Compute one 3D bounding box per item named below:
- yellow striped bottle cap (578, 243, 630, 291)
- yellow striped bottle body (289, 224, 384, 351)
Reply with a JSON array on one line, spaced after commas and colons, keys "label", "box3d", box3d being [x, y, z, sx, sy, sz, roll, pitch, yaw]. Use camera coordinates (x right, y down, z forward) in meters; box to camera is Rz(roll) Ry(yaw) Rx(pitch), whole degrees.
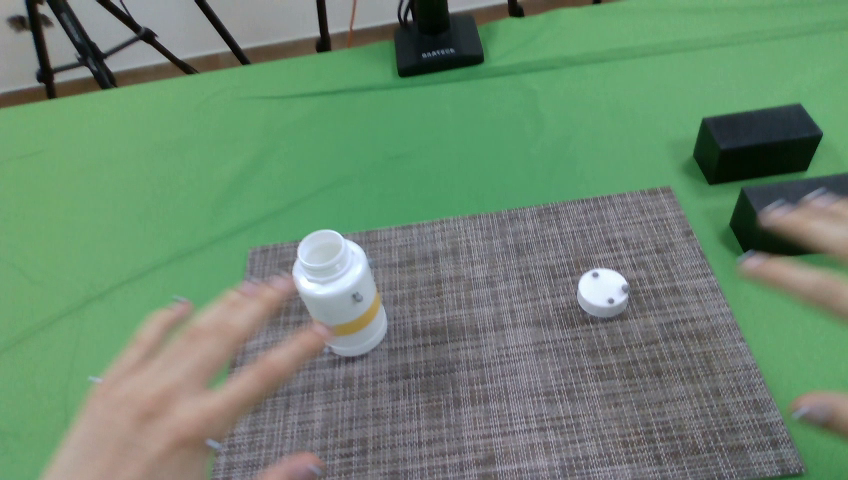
[{"label": "yellow striped bottle cap", "box3d": [0.158, 0.023, 0.533, 0.044, 0.019, 0.044, -8, 41, 7]}, {"label": "yellow striped bottle body", "box3d": [-0.076, 0.039, 0.520, 0.063, 0.121, 0.062, -5, 50, 6]}]
